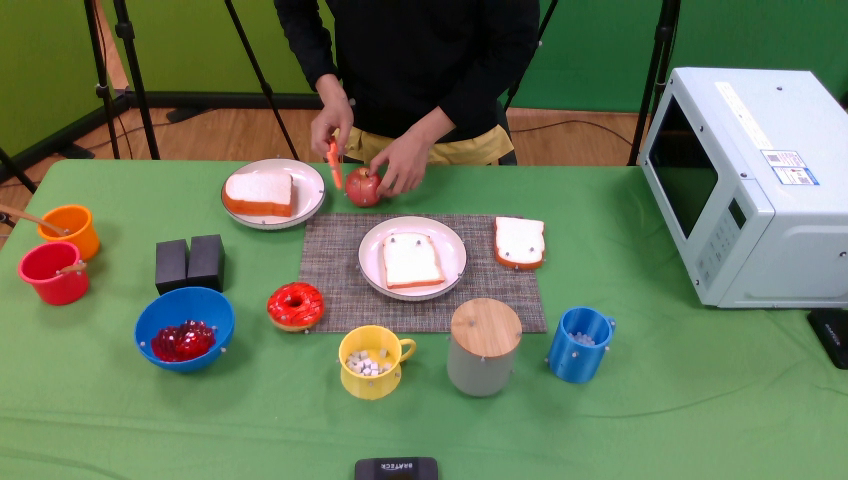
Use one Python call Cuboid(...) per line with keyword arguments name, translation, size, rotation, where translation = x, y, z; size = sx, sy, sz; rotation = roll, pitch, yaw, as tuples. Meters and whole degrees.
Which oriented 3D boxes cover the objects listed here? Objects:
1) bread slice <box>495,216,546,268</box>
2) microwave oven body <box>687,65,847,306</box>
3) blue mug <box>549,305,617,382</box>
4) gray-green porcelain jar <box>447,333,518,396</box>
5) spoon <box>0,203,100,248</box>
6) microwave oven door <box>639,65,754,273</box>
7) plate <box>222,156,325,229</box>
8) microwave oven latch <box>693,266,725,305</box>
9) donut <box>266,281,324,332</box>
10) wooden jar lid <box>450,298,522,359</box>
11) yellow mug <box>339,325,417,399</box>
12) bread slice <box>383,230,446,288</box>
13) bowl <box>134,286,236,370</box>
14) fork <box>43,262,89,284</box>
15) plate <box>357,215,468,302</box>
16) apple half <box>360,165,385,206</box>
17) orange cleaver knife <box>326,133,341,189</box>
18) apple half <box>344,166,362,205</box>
Cuboid(name="bread slice", translation=(0.194, 0.002, 1.204), size=(0.105, 0.019, 0.131), rotation=(6, 45, 2))
Cuboid(name="microwave oven body", translation=(0.669, -0.111, 1.176), size=(0.326, 0.261, 0.439), rotation=(0, 46, -3))
Cuboid(name="blue mug", translation=(0.269, 0.166, 0.998), size=(0.116, 0.106, 0.082), rotation=(-19, 51, -21))
Cuboid(name="gray-green porcelain jar", translation=(0.091, 0.178, 0.960), size=(0.106, 0.127, 0.105), rotation=(2, 46, -2))
Cuboid(name="spoon", translation=(-0.683, -0.031, 1.088), size=(0.195, 0.021, 0.041), rotation=(33, 33, -38))
Cuboid(name="microwave oven door", translation=(0.522, -0.147, 1.193), size=(0.039, 0.245, 0.353), rotation=(0, 47, -3))
Cuboid(name="plate", translation=(-0.308, -0.095, 1.251), size=(0.209, 0.038, 0.208), rotation=(2, 47, -2))
Cuboid(name="microwave oven latch", translation=(0.523, 0.082, 1.115), size=(0.030, 0.029, 0.078), rotation=(3, 46, 0))
Cuboid(name="donut", translation=(-0.222, 0.115, 1.049), size=(0.099, 0.048, 0.098), rotation=(2, 45, -2))
Cuboid(name="wooden jar lid", translation=(0.093, 0.135, 0.914), size=(0.108, 0.021, 0.107), rotation=(2, 48, -3))
Cuboid(name="yellow mug", translation=(-0.072, 0.191, 0.978), size=(0.131, 0.064, 0.099), rotation=(-17, 50, -20))
Cuboid(name="bread slice", translation=(-0.028, 0.035, 1.144), size=(0.107, 0.018, 0.133), rotation=(-7, 48, -12))
Cuboid(name="bowl", translation=(-0.377, 0.155, 0.981), size=(0.151, 0.077, 0.150), rotation=(2, 46, -2))
Cuboid(name="fork", translation=(-0.599, 0.053, 1.013), size=(0.207, 0.019, 0.028), rotation=(-14, 30, 45))
Cuboid(name="plate", translation=(-0.022, 0.037, 1.141), size=(0.208, 0.039, 0.206), rotation=(2, 46, -2))
Cuboid(name="apple half", translation=(-0.107, -0.112, 1.259), size=(0.053, 0.075, 0.080), rotation=(-1, 42, -8))
Cuboid(name="orange cleaver knife", translation=(-0.170, -0.155, 1.160), size=(0.012, 0.077, 0.210), rotation=(-16, 24, 0))
Cuboid(name="apple half", translation=(-0.148, -0.109, 1.251), size=(0.033, 0.081, 0.080), rotation=(-3, 47, -12))
